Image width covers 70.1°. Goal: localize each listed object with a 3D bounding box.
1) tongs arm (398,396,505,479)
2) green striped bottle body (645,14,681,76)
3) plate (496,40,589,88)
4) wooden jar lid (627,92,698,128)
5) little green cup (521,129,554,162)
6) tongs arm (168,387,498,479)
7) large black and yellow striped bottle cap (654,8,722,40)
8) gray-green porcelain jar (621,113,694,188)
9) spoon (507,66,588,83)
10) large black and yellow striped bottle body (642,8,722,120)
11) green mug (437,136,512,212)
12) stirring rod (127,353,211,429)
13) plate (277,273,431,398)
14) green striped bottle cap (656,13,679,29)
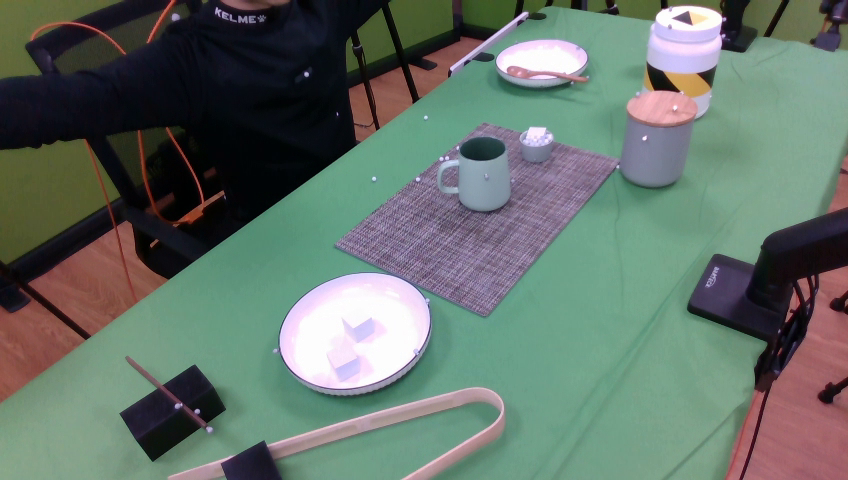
[{"bbox_3d":[-0.071,0.272,0.652,0.386,0.026,0.050,-21,37,-17],"label":"tongs arm"},{"bbox_3d":[0.520,-0.424,1.312,0.063,0.120,0.063,-4,41,4],"label":"green striped bottle body"},{"bbox_3d":[0.268,-0.398,1.381,0.209,0.038,0.208,-4,41,4],"label":"plate"},{"bbox_3d":[0.384,-0.207,0.980,0.108,0.021,0.108,-6,39,5],"label":"wooden jar lid"},{"bbox_3d":[0.211,-0.175,1.124,0.061,0.039,0.061,-4,42,4],"label":"little green cup"},{"bbox_3d":[-0.100,0.230,0.711,0.388,0.028,0.028,-13,32,-7],"label":"tongs arm"},{"bbox_3d":[0.483,-0.397,1.108,0.115,0.019,0.114,-3,41,3],"label":"large black and yellow striped bottle cap"},{"bbox_3d":[0.390,-0.161,1.020,0.106,0.127,0.105,-4,41,4],"label":"gray-green porcelain jar"},{"bbox_3d":[0.265,-0.358,1.311,0.192,0.022,0.042,18,48,38],"label":"spoon"},{"bbox_3d":[0.493,-0.334,1.161,0.131,0.185,0.130,-4,41,4],"label":"large black and yellow striped bottle body"},{"bbox_3d":[0.084,-0.107,1.013,0.125,0.105,0.092,-9,40,-3],"label":"green mug"},{"bbox_3d":[-0.311,0.180,0.731,0.175,0.014,0.006,25,53,31],"label":"stirring rod"},{"bbox_3d":[-0.091,0.129,0.821,0.207,0.039,0.206,-4,40,4],"label":"plate"},{"bbox_3d":[0.515,-0.463,1.278,0.044,0.020,0.044,-6,42,6],"label":"green striped bottle cap"}]
